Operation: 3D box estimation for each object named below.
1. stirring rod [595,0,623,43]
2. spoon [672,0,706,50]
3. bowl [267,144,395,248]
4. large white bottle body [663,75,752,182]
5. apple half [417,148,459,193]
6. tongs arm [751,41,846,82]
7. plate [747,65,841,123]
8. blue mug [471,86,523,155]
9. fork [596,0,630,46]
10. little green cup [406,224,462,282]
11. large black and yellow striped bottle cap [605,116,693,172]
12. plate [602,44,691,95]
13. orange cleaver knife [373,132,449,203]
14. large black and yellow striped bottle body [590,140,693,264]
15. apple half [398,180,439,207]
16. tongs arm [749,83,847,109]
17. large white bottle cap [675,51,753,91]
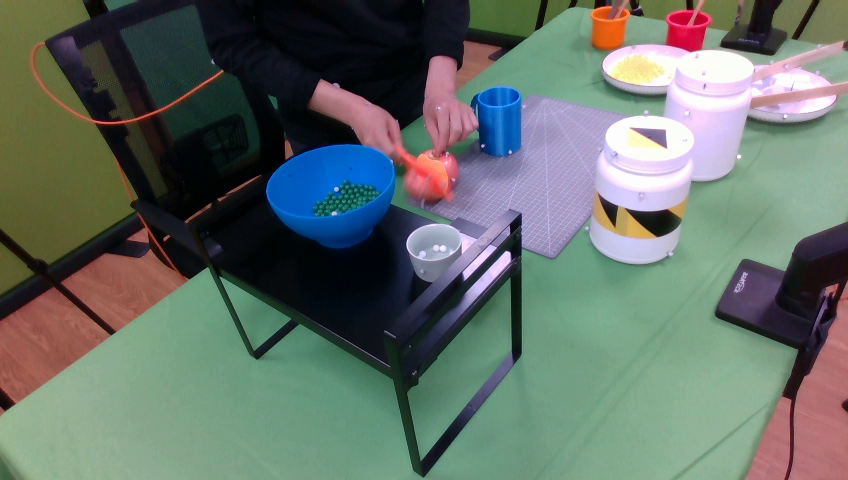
[{"bbox_3d":[0.460,-0.556,1.460,0.014,0.006,0.176,30,94,23],"label":"stirring rod"},{"bbox_3d":[0.629,-0.520,1.394,0.041,0.022,0.193,30,97,34],"label":"spoon"},{"bbox_3d":[-0.104,-0.043,0.726,0.151,0.077,0.150,-4,40,4],"label":"bowl"},{"bbox_3d":[0.472,-0.207,1.022,0.130,0.185,0.130,-4,41,4],"label":"large white bottle body"},{"bbox_3d":[0.032,-0.128,1.080,0.080,0.075,0.053,24,46,38],"label":"apple half"},{"bbox_3d":[0.708,-0.331,1.194,0.386,0.026,0.050,-19,45,-16],"label":"tongs arm"},{"bbox_3d":[0.694,-0.283,1.189,0.207,0.039,0.206,-4,40,4],"label":"plate"},{"bbox_3d":[0.135,-0.235,1.163,0.082,0.106,0.115,-36,48,-28],"label":"blue mug"},{"bbox_3d":[0.481,-0.556,1.452,0.028,0.019,0.207,40,103,41],"label":"fork"},{"bbox_3d":[0.012,0.015,0.668,0.061,0.039,0.061,-4,40,4],"label":"little green cup"},{"bbox_3d":[0.309,-0.134,0.833,0.115,0.019,0.114,-5,40,5],"label":"large black and yellow striped bottle cap"},{"bbox_3d":[0.495,-0.367,1.317,0.209,0.038,0.208,-4,40,4],"label":"plate"},{"bbox_3d":[-0.025,-0.129,1.068,0.012,0.078,0.209,-43,49,-5],"label":"orange cleaver knife"},{"bbox_3d":[0.317,-0.071,0.889,0.131,0.185,0.130,-4,41,4],"label":"large black and yellow striped bottle body"},{"bbox_3d":[-0.011,-0.076,1.052,0.081,0.033,0.081,23,17,-7],"label":"apple half"},{"bbox_3d":[0.734,-0.280,1.133,0.388,0.028,0.028,-9,47,-5],"label":"tongs arm"},{"bbox_3d":[0.463,-0.271,0.967,0.115,0.018,0.114,-4,40,3],"label":"large white bottle cap"}]
